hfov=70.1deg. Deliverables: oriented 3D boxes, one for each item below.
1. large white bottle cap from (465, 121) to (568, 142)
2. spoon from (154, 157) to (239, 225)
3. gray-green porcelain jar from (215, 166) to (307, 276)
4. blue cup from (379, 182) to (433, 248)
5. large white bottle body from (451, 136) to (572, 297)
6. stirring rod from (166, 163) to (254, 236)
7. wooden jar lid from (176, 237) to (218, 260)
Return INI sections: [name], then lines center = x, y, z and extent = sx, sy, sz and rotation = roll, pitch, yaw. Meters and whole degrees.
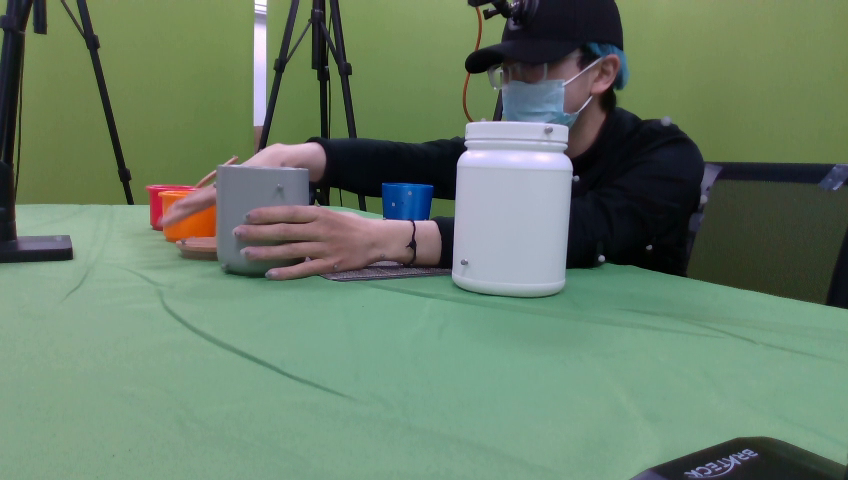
[large white bottle cap]
center = 0.103, -0.120, 0.677
extent = 0.115, 0.018, 0.115
rotation = 2, 7, 0
[spoon]
center = -0.411, -0.092, 1.105
extent = 0.041, 0.022, 0.194
rotation = 13, 56, 51
[gray-green porcelain jar]
center = -0.195, -0.024, 0.728
extent = 0.106, 0.126, 0.106
rotation = 3, 7, 0
[blue cup]
center = -0.030, -0.041, 0.979
extent = 0.093, 0.100, 0.092
rotation = 2, 9, 0
[large white bottle body]
center = 0.099, -0.037, 0.688
extent = 0.131, 0.184, 0.130
rotation = 2, 7, 0
[stirring rod]
center = -0.341, -0.066, 0.966
extent = 0.176, 0.006, 0.014
rotation = -42, 21, -9
[wooden jar lid]
center = -0.283, 0.012, 0.834
extent = 0.108, 0.020, 0.108
rotation = 1, 7, 0
